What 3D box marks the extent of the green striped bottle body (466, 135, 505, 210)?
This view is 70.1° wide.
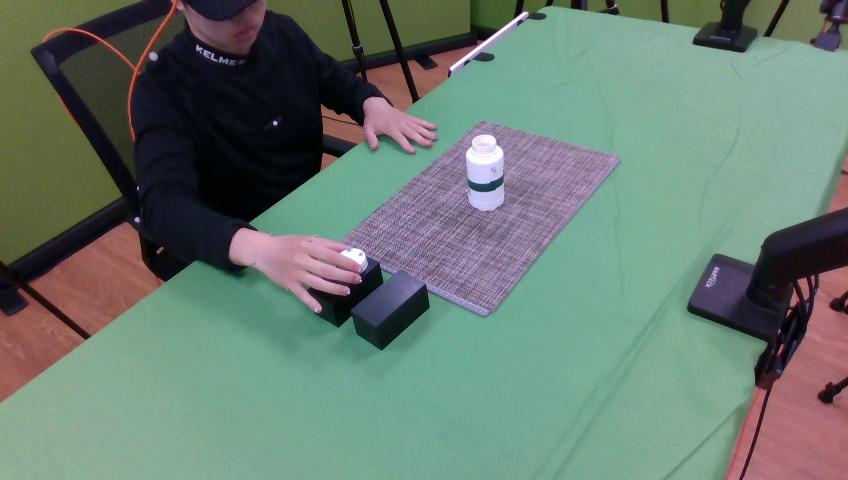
[{"bbox_3d":[0.102,-0.114,1.006,0.063,0.120,0.063,-4,41,4],"label":"green striped bottle body"}]

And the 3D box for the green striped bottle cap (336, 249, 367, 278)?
[{"bbox_3d":[-0.105,0.033,0.874,0.044,0.020,0.044,-5,44,6],"label":"green striped bottle cap"}]
